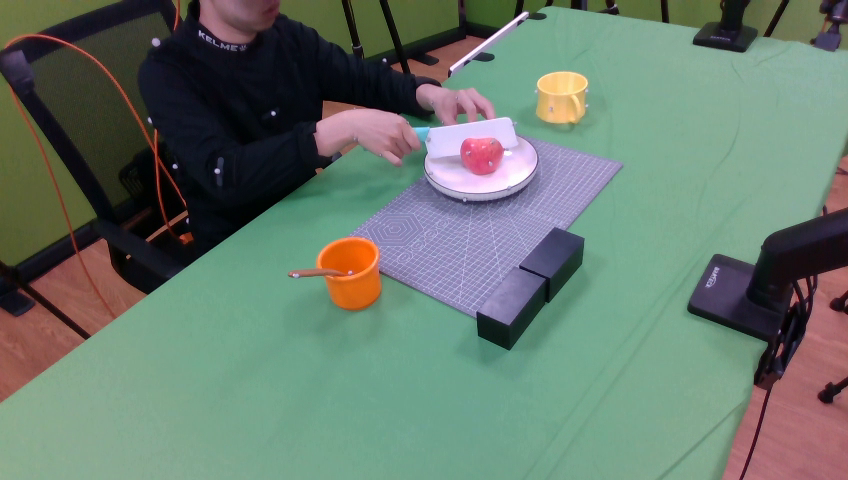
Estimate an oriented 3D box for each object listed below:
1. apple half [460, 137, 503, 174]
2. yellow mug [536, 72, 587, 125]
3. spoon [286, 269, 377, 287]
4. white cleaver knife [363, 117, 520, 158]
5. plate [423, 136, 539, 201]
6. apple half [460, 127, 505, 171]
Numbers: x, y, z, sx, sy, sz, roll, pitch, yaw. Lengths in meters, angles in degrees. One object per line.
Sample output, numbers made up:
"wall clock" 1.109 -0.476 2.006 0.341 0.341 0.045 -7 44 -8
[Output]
"apple half" 0.101 -0.142 1.063 0.081 0.081 0.032 1 39 10
"yellow mug" 0.285 -0.281 1.222 0.100 0.064 0.130 -16 42 -9
"spoon" -0.125 0.050 0.831 0.041 0.195 0.021 22 92 28
"white cleaver knife" 0.025 -0.174 1.071 0.285 0.066 0.021 -3 34 17
"plate" 0.102 -0.132 1.092 0.209 0.038 0.208 -4 40 4
"apple half" 0.107 -0.168 1.092 0.080 0.075 0.053 -3 35 14
